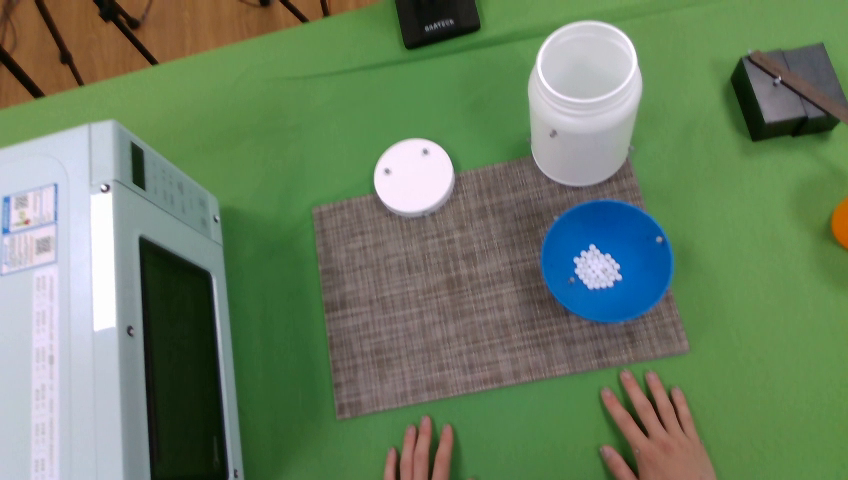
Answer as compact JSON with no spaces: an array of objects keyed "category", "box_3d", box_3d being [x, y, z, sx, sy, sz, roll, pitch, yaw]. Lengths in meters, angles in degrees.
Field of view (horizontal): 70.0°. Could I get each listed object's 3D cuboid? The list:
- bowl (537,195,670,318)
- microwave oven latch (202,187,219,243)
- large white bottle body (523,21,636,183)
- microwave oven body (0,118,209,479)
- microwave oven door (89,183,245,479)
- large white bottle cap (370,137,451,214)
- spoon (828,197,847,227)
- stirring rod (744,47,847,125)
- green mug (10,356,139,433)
[{"category":"bowl","box_3d":[0.215,0.029,0.745,0.151,0.077,0.150,-3,72,10]},{"category":"microwave oven latch","box_3d":[-0.315,-0.033,0.866,0.030,0.030,0.078,-14,72,5]},{"category":"large white bottle body","box_3d":[0.190,-0.167,0.754,0.130,0.186,0.129,-4,68,10]},{"category":"microwave oven body","box_3d":[-0.440,0.136,0.732,0.326,0.262,0.438,-14,72,5]},{"category":"microwave oven door","box_3d":[-0.292,0.138,0.700,0.039,0.245,0.353,-14,71,6]},{"category":"large white bottle cap","box_3d":[-0.019,-0.092,0.857,0.114,0.018,0.114,-3,72,9]},{"category":"spoon","box_3d":[0.557,-0.032,0.671,0.022,0.192,0.041,36,74,-26]},{"category":"stirring rod","box_3d":[0.474,-0.186,0.751,0.175,0.006,0.014,45,119,19]},{"category":"green mug","box_3d":[-0.413,0.179,0.738,0.125,0.105,0.092,-25,73,-4]}]
